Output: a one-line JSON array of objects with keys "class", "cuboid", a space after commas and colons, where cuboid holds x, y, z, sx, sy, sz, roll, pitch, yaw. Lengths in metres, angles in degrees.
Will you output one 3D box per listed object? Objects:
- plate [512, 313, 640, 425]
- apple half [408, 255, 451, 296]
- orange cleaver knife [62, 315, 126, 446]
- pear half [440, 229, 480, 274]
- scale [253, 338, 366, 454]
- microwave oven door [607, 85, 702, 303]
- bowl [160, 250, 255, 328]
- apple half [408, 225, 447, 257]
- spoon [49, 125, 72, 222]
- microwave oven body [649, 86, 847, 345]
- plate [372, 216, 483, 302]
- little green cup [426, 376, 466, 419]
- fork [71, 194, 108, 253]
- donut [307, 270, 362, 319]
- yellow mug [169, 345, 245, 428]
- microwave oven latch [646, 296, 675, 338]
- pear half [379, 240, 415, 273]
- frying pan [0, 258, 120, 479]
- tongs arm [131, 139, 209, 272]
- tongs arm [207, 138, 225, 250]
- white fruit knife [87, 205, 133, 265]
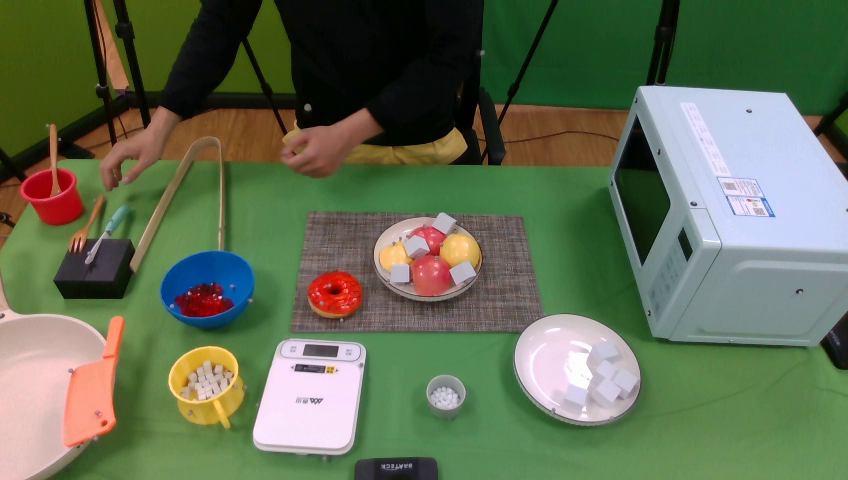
[{"class": "plate", "cuboid": [0.246, 0.213, 0.999, 0.208, 0.039, 0.206, 2, 46, -2]}, {"class": "apple half", "cuboid": [0.011, 0.058, 1.103, 0.075, 0.053, 0.080, -6, 43, -13]}, {"class": "orange cleaver knife", "cuboid": [-0.480, 0.199, 0.887, 0.077, 0.012, 0.210, -9, 47, -8]}, {"class": "pear half", "cuboid": [0.065, 0.007, 1.150, 0.076, 0.056, 0.109, -10, 43, -2]}, {"class": "scale", "cuboid": [-0.175, 0.236, 0.951, 0.149, 0.032, 0.199, 5, 45, -1]}, {"class": "microwave oven door", "cuboid": [0.423, -0.094, 1.140, 0.039, 0.245, 0.353, 2, 46, -1]}, {"class": "bowl", "cuboid": [-0.362, 0.098, 1.040, 0.151, 0.077, 0.150, 2, 45, -2]}, {"class": "apple half", "cuboid": [0.010, -0.006, 1.176, 0.081, 0.033, 0.081, 0, 53, 0]}, {"class": "spoon", "cuboid": [-0.718, -0.131, 1.189, 0.041, 0.021, 0.193, -4, 90, -6]}, {"class": "microwave oven body", "cuboid": [0.567, -0.053, 1.118, 0.326, 0.261, 0.439, 2, 45, -1]}, {"class": "plate", "cuboid": [0.006, 0.038, 1.145, 0.209, 0.038, 0.208, 2, 46, -2]}, {"class": "little green cup", "cuboid": [0.033, 0.248, 0.950, 0.061, 0.039, 0.061, 2, 46, -2]}, {"class": "fork", "cuboid": [-0.634, -0.036, 1.158, 0.028, 0.019, 0.206, -8, 31, -8]}, {"class": "donut", "cuboid": [-0.157, 0.097, 1.073, 0.099, 0.048, 0.098, 4, 45, -4]}, {"class": "yellow mug", "cuboid": [-0.322, 0.230, 0.922, 0.100, 0.064, 0.130, -24, 53, -25]}, {"class": "microwave oven latch", "cuboid": [0.412, 0.134, 1.061, 0.030, 0.029, 0.078, 4, 45, 1]}, {"class": "pear half", "cuboid": [-0.048, 0.024, 1.147, 0.070, 0.031, 0.087, 12, 46, -12]}, {"class": "frying pan", "cuboid": [-0.647, 0.164, 0.936, 0.307, 0.103, 0.485, -19, 58, -22]}, {"class": "tongs arm", "cuboid": [-0.515, -0.084, 1.238, 0.028, 0.028, 0.385, 0, 45, 5]}, {"class": "tongs arm", "cuboid": [-0.431, -0.089, 1.245, 0.051, 0.026, 0.382, -8, 46, -7]}, {"class": "white fruit knife", "cuboid": [-0.584, -0.013, 1.129, 0.016, 0.027, 0.206, -1, 32, -4]}]
